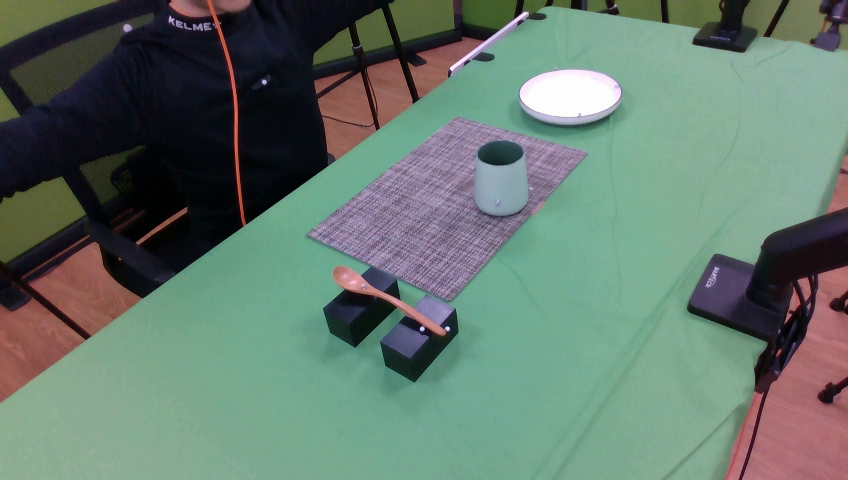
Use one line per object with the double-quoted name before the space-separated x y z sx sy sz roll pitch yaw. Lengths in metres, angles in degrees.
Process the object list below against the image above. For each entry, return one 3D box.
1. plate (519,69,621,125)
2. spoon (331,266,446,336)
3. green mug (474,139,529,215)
"plate" 0.300 -0.293 1.253 0.209 0.038 0.208 -4 41 4
"spoon" -0.050 0.080 0.806 0.192 0.021 0.042 24 28 30
"green mug" 0.126 -0.113 1.013 0.092 0.105 0.124 -8 41 0
